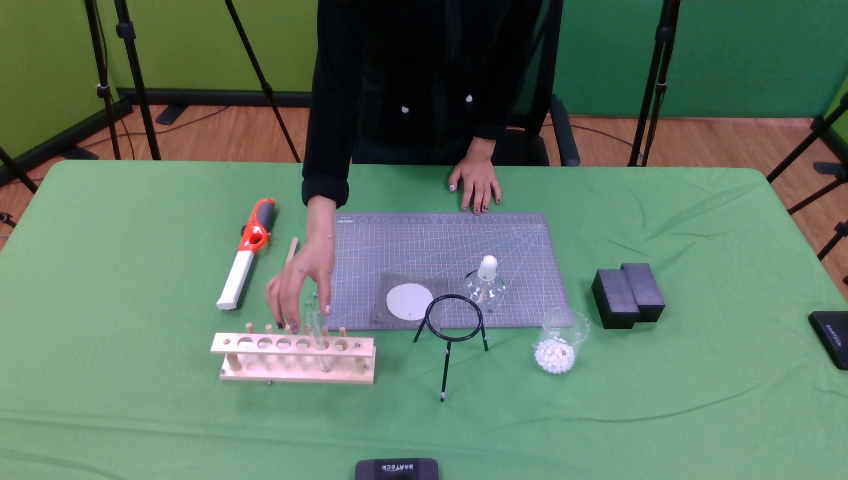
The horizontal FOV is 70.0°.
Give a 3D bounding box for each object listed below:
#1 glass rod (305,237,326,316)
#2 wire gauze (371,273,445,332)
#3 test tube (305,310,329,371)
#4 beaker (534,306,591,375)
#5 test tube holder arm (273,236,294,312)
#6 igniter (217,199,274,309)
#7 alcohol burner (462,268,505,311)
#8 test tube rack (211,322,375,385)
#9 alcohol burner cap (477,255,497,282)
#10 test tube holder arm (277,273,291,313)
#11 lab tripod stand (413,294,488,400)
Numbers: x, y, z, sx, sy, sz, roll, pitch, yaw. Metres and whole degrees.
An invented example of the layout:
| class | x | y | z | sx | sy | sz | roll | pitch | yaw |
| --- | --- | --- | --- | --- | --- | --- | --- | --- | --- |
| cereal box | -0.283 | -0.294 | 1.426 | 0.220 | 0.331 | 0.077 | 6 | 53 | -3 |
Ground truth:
| class | x | y | z | sx | sy | sz | roll | pitch | yaw |
| --- | --- | --- | --- | --- | --- | --- | --- | --- | --- |
| glass rod | -0.202 | 0.063 | 1.131 | 0.008 | 0.008 | 0.198 | 4 | 44 | 0 |
| wire gauze | -0.028 | 0.109 | 1.100 | 0.125 | 0.011 | 0.121 | 7 | 45 | 4 |
| test tube | -0.162 | 0.156 | 0.924 | 0.017 | 0.151 | 0.017 | -1 | 48 | 1 |
| beaker | 0.226 | 0.169 | 1.002 | 0.084 | 0.101 | 0.073 | -5 | 47 | -10 |
| test tube holder arm | -0.259 | 0.059 | 1.123 | 0.013 | 0.015 | 0.177 | 29 | 38 | -29 |
| igniter | -0.336 | 0.017 | 1.153 | 0.057 | 0.025 | 0.275 | -2 | 45 | 8 |
| alcohol burner | 0.108 | 0.071 | 1.073 | 0.078 | 0.119 | 0.077 | 4 | 45 | -4 |
| test tube rack | -0.202 | 0.176 | 0.969 | 0.242 | 0.085 | 0.066 | 3 | 46 | -2 |
| alcohol burner cap | 0.110 | 0.047 | 1.046 | 0.034 | 0.048 | 0.033 | 2 | 52 | -2 |
| test tube holder arm | -0.254 | 0.093 | 1.094 | 0.010 | 0.015 | 0.087 | 30 | 38 | -28 |
| lab tripod stand | 0.045 | 0.159 | 0.972 | 0.148 | 0.132 | 0.147 | 2 | 44 | -2 |
